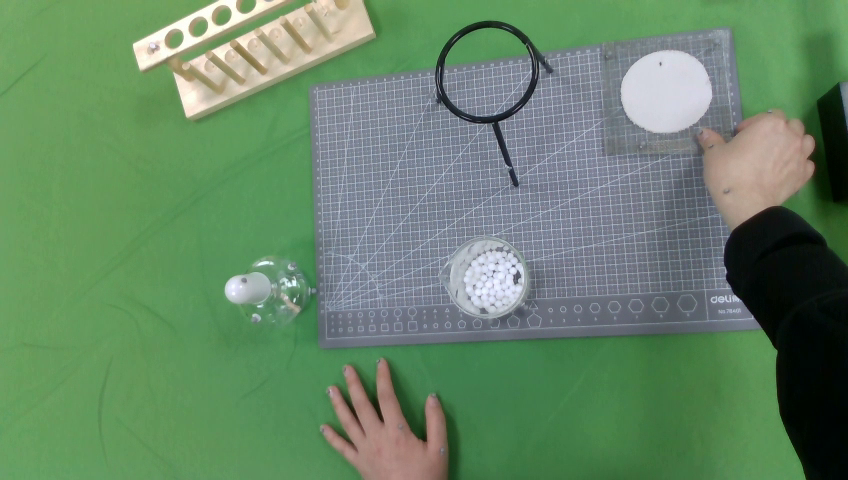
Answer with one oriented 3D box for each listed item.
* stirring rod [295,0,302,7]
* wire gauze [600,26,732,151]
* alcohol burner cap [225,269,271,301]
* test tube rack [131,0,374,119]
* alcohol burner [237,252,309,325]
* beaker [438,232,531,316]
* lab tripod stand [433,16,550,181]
[{"bbox_3d":[-0.152,-0.284,0.588,0.006,0.177,0.014,-21,74,3],"label":"stirring rod"},{"bbox_3d":[0.242,-0.149,0.608,0.125,0.011,0.121,0,87,12],"label":"wire gauze"},{"bbox_3d":[-0.175,0.045,0.592,0.034,0.048,0.034,0,88,11],"label":"alcohol burner cap"},{"bbox_3d":[-0.186,-0.222,0.670,0.242,0.085,0.066,-22,80,9],"label":"test tube rack"},{"bbox_3d":[-0.167,0.049,0.627,0.078,0.119,0.077,-1,82,12],"label":"alcohol burner"},{"bbox_3d":[0.063,0.035,0.583,0.084,0.101,0.074,2,84,13],"label":"beaker"},{"bbox_3d":[0.067,-0.138,0.580,0.148,0.132,0.148,-1,85,11],"label":"lab tripod stand"}]
